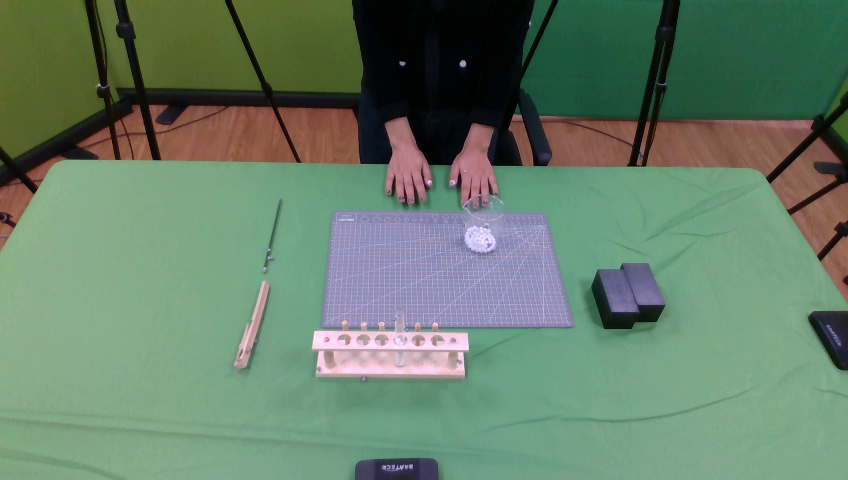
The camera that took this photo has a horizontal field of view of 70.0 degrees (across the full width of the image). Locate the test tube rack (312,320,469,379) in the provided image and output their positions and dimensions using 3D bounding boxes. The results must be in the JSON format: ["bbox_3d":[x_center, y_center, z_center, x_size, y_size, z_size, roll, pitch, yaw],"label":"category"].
[{"bbox_3d":[-0.054,0.173,0.984,0.242,0.085,0.066,1,46,-3],"label":"test tube rack"}]

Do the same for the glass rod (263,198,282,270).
[{"bbox_3d":[-0.299,-0.017,1.202,0.008,0.008,0.198,1,46,-2],"label":"glass rod"}]

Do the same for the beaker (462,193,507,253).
[{"bbox_3d":[0.113,-0.030,1.177,0.084,0.101,0.073,6,46,3],"label":"beaker"}]

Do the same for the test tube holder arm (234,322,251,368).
[{"bbox_3d":[-0.299,0.173,1.013,0.010,0.015,0.087,-16,42,22],"label":"test tube holder arm"}]

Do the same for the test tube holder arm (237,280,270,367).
[{"bbox_3d":[-0.291,0.140,1.042,0.013,0.015,0.177,-17,41,22],"label":"test tube holder arm"}]

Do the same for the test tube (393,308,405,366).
[{"bbox_3d":[-0.038,0.153,0.935,0.017,0.151,0.017,1,49,-1],"label":"test tube"}]
